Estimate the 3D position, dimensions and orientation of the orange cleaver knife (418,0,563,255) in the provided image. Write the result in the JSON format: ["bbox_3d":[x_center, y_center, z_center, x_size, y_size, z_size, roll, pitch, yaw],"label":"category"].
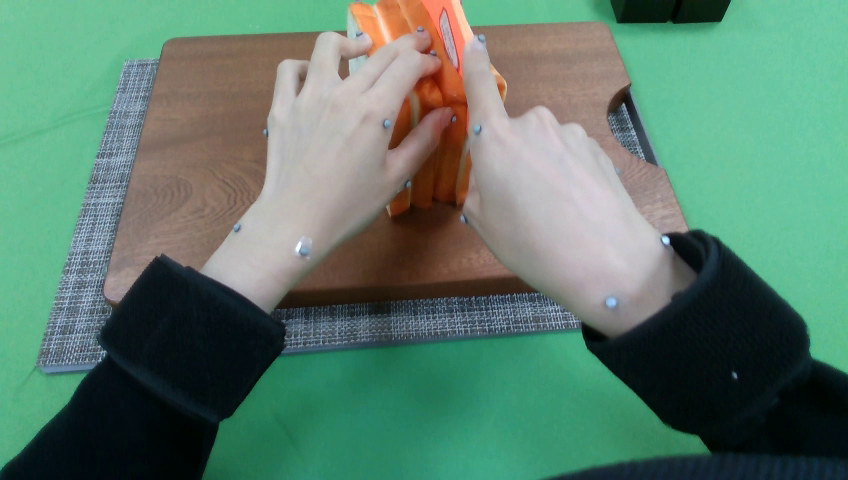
[{"bbox_3d":[0.031,-0.078,0.355,0.012,0.077,0.209,-15,67,-10],"label":"orange cleaver knife"}]

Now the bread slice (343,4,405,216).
[{"bbox_3d":[-0.037,-0.097,0.426,0.018,0.108,0.133,-9,49,-13],"label":"bread slice"}]

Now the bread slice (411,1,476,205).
[{"bbox_3d":[0.014,-0.107,0.432,0.019,0.105,0.130,-9,55,-12],"label":"bread slice"}]
